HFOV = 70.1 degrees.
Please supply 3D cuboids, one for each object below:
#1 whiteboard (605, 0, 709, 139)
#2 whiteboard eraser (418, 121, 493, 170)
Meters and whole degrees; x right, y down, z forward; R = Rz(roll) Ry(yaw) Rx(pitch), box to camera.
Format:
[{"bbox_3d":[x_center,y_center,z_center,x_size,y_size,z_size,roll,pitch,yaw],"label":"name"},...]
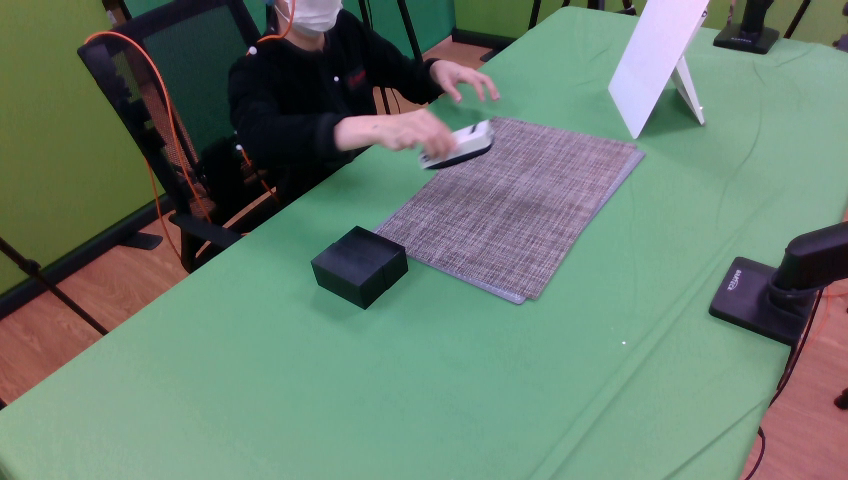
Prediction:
[{"bbox_3d":[0.496,-0.358,1.146,0.144,0.305,0.216,11,40,-8],"label":"whiteboard"},{"bbox_3d":[0.049,-0.139,0.914,0.112,0.042,0.055,-16,31,20],"label":"whiteboard eraser"}]
